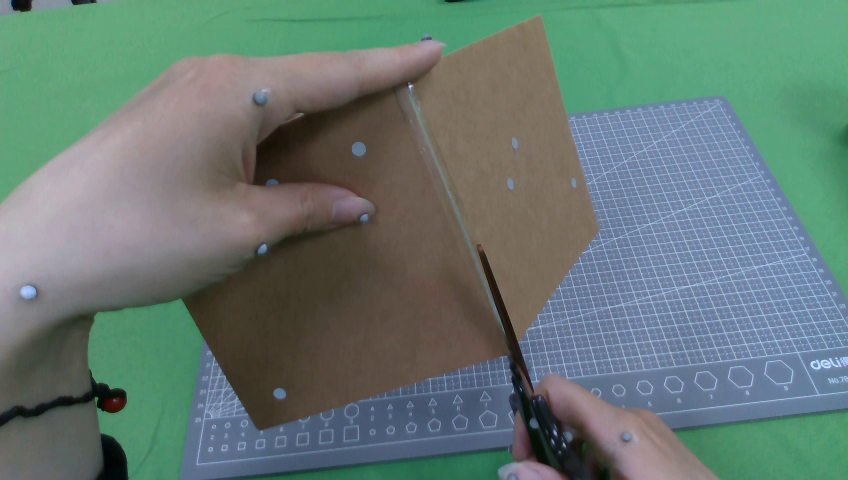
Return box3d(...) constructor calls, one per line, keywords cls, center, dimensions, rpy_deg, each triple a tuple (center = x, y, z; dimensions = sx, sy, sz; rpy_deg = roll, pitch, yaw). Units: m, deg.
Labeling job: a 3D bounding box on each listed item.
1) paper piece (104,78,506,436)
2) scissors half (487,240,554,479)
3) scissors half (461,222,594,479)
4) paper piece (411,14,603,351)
box3d(cls="paper piece", center=(-0.046, 0.016, 0.275), dimensions=(0.138, 0.137, 0.008), rpy_deg=(-22, 19, 4))
box3d(cls="scissors half", center=(0.048, 0.065, 0.299), dimensions=(0.013, 0.177, 0.039), rpy_deg=(-22, 42, -5))
box3d(cls="scissors half", center=(0.053, 0.071, 0.275), dimensions=(0.013, 0.040, 0.174), rpy_deg=(-22, 82, -9))
box3d(cls="paper piece", center=(0.055, -0.037, 0.309), dimensions=(0.004, 0.136, 0.135), rpy_deg=(-7, 22, 39))
